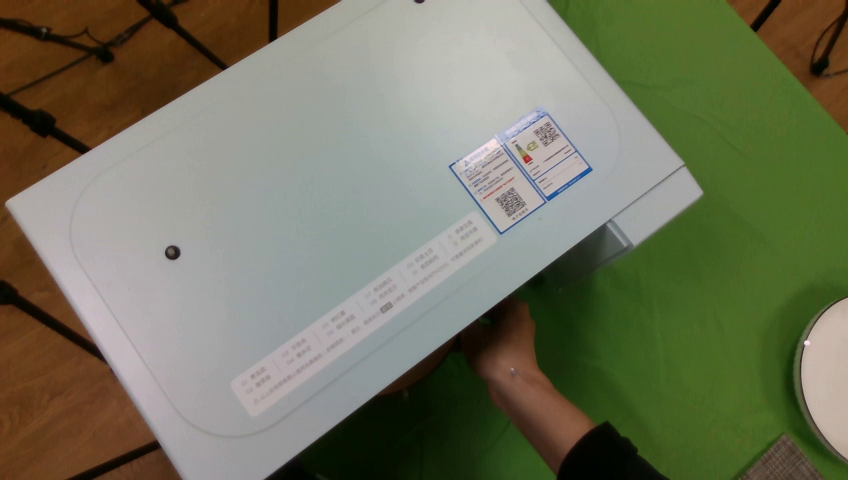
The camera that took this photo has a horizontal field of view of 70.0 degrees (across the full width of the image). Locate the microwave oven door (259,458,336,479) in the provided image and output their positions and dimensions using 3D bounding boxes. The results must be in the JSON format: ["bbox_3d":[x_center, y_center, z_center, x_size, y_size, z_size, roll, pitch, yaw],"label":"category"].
[{"bbox_3d":[0.013,0.292,0.505,0.355,0.244,0.039,28,77,2],"label":"microwave oven door"}]

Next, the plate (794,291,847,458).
[{"bbox_3d":[0.520,0.158,0.693,0.208,0.039,0.206,1,78,-4],"label":"plate"}]

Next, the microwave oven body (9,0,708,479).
[{"bbox_3d":[-0.051,-0.021,0.573,0.441,0.261,0.325,-35,82,-10],"label":"microwave oven body"}]

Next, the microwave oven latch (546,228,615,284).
[{"bbox_3d":[0.174,0.017,0.680,0.079,0.029,0.030,-31,82,-9],"label":"microwave oven latch"}]

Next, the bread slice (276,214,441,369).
[{"bbox_3d":[-0.052,0.035,0.542,0.134,0.018,0.107,-27,91,-19],"label":"bread slice"}]

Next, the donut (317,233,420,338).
[{"bbox_3d":[-0.051,0.042,0.569,0.099,0.048,0.098,4,79,-18],"label":"donut"}]

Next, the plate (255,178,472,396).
[{"bbox_3d":[-0.058,0.045,0.596,0.209,0.038,0.208,2,80,-9],"label":"plate"}]

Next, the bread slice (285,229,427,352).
[{"bbox_3d":[-0.069,0.054,0.601,0.132,0.019,0.104,-17,83,-22],"label":"bread slice"}]
